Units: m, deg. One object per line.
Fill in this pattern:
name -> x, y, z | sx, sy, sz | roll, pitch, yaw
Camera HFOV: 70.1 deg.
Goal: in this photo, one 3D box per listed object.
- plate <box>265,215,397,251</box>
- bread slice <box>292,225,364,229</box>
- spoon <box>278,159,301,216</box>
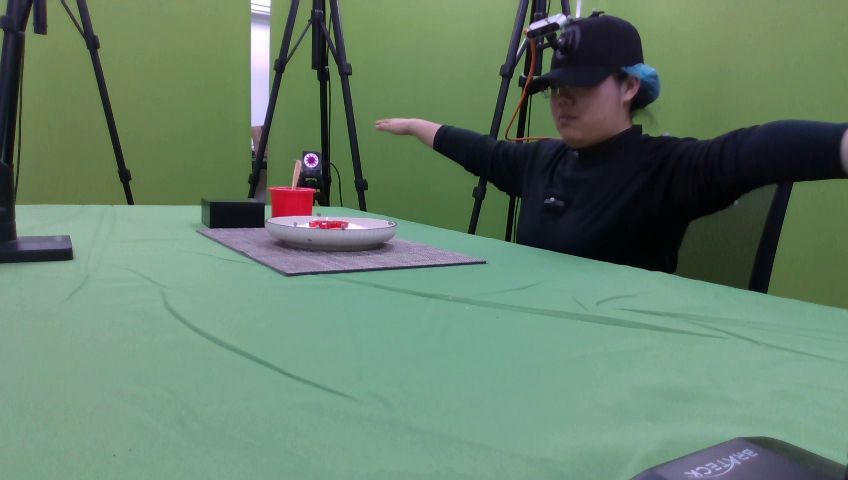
plate -> -0.147, -0.012, 0.963 | 0.209, 0.038, 0.209 | 3, 7, 0
bread slice -> -0.154, -0.012, 0.973 | 0.132, 0.019, 0.104 | -1, 7, -31
spoon -> -0.275, -0.108, 1.278 | 0.042, 0.021, 0.193 | 3, 51, -3
